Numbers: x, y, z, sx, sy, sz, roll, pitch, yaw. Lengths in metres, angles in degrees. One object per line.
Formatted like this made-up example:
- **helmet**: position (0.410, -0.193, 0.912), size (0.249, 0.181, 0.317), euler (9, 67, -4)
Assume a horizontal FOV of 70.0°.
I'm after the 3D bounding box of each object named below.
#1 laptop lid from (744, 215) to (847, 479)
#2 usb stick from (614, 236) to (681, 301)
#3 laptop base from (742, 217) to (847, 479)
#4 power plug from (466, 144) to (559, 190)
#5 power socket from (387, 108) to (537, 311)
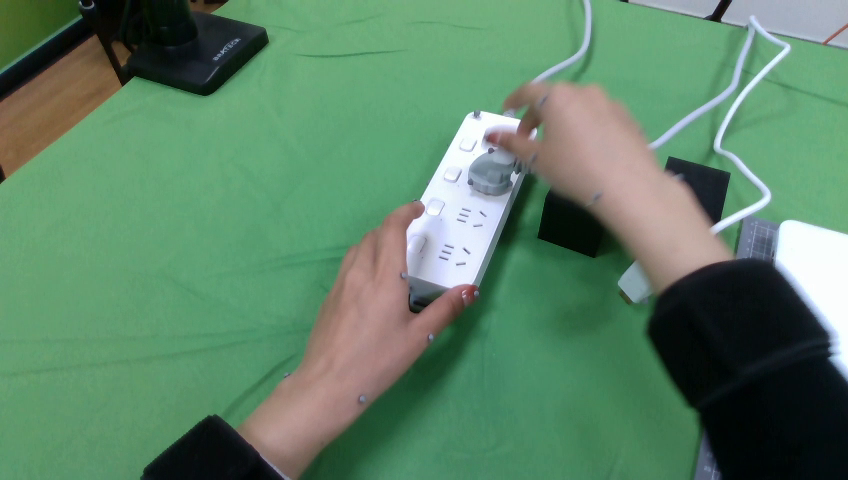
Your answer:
- **laptop lid**: position (0.402, 0.114, 0.388), size (0.355, 0.013, 0.240), euler (20, 56, 16)
- **usb stick**: position (0.155, 0.023, 0.430), size (0.027, 0.059, 0.021), euler (-29, 67, -24)
- **laptop base**: position (0.404, 0.120, 0.399), size (0.353, 0.023, 0.234), euler (18, 57, 15)
- **power plug**: position (0.069, -0.050, 0.503), size (0.072, 0.053, 0.035), euler (26, 56, 19)
- **power socket**: position (0.038, -0.037, 0.522), size (0.072, 0.033, 0.225), euler (17, 53, 13)
